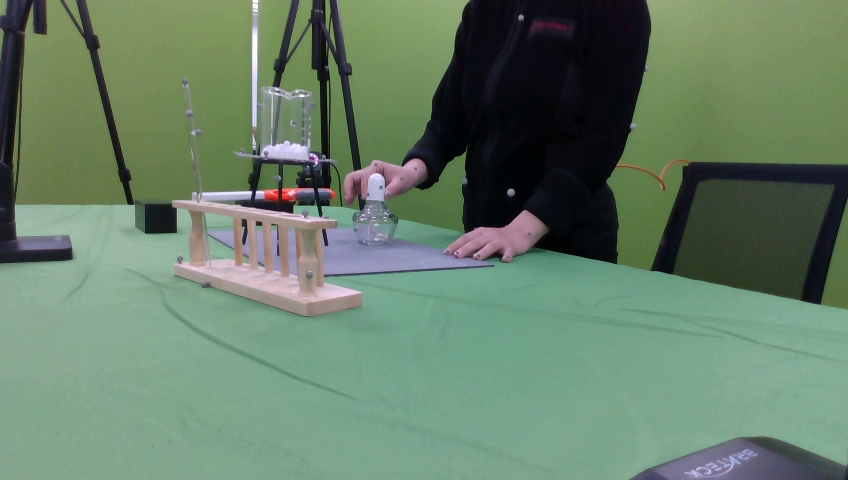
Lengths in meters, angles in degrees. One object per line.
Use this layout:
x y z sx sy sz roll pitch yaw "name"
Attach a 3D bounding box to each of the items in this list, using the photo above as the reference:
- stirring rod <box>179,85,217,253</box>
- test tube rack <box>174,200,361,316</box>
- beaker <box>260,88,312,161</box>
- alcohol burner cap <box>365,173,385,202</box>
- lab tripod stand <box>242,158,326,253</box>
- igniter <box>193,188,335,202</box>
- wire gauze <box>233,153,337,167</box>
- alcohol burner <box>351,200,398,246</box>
-0.236 -0.073 0.634 0.006 0.176 0.014 0 10 42 "stirring rod"
-0.169 0.009 0.622 0.241 0.085 0.067 9 9 41 "test tube rack"
-0.200 -0.166 0.876 0.074 0.100 0.083 1 7 -18 "beaker"
-0.080 -0.086 0.990 0.034 0.048 0.034 2 2 0 "alcohol burner cap"
-0.207 -0.054 0.895 0.148 0.131 0.148 3 5 0 "lab tripod stand"
-0.312 -0.089 1.209 0.278 0.025 0.057 -5 13 -31 "igniter"
-0.205 -0.119 0.887 0.122 0.011 0.124 2 4 -32 "wire gauze"
-0.081 -0.051 0.995 0.078 0.119 0.078 1 6 0 "alcohol burner"
